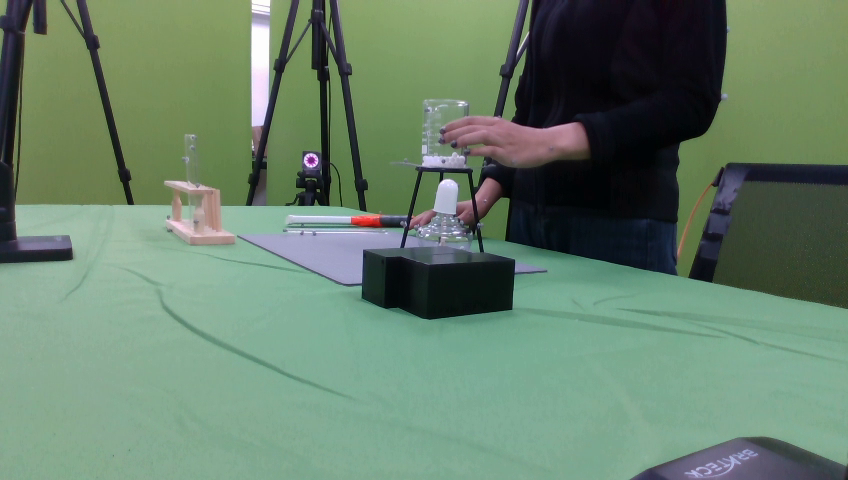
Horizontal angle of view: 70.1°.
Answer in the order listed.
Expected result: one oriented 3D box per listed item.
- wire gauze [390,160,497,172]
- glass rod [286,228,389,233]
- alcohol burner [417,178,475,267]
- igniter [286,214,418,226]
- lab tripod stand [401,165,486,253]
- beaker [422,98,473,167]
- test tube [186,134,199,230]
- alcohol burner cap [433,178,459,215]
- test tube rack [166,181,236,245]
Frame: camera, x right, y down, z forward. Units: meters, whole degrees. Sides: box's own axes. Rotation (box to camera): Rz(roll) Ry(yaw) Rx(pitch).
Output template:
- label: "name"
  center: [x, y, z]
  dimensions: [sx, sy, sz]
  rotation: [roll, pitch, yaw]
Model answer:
- label: "wire gauze"
  center: [0.027, -0.114, 0.920]
  dimensions: [0.122, 0.011, 0.124]
  rotation: [-5, 13, -34]
- label: "glass rod"
  center: [-0.153, -0.016, 1.101]
  dimensions: [0.201, 0.008, 0.008]
  rotation: [1, 7, -31]
- label: "alcohol burner"
  center: [0.029, -0.024, 0.810]
  dimensions: [0.078, 0.119, 0.078]
  rotation: [1, 8, 0]
- label: "igniter"
  center: [-0.146, -0.043, 1.263]
  dimensions: [0.278, 0.025, 0.057]
  rotation: [-1, -2, -24]
- label: "lab tripod stand"
  center: [0.028, -0.049, 0.930]
  dimensions: [0.148, 0.131, 0.148]
  rotation: [2, 9, 0]
- label: "beaker"
  center: [0.031, -0.162, 0.919]
  dimensions: [0.074, 0.100, 0.083]
  rotation: [-4, 9, -36]
- label: "test tube"
  center: [-0.360, -0.089, 0.946]
  dimensions: [0.017, 0.150, 0.017]
  rotation: [0, 10, 0]
- label: "alcohol burner cap"
  center: [0.031, -0.059, 0.806]
  dimensions: [0.034, 0.048, 0.034]
  rotation: [9, 10, -1]
- label: "test tube rack"
  center: [-0.383, -0.051, 1.024]
  dimensions: [0.067, 0.085, 0.241]
  rotation: [-2, 9, -31]
